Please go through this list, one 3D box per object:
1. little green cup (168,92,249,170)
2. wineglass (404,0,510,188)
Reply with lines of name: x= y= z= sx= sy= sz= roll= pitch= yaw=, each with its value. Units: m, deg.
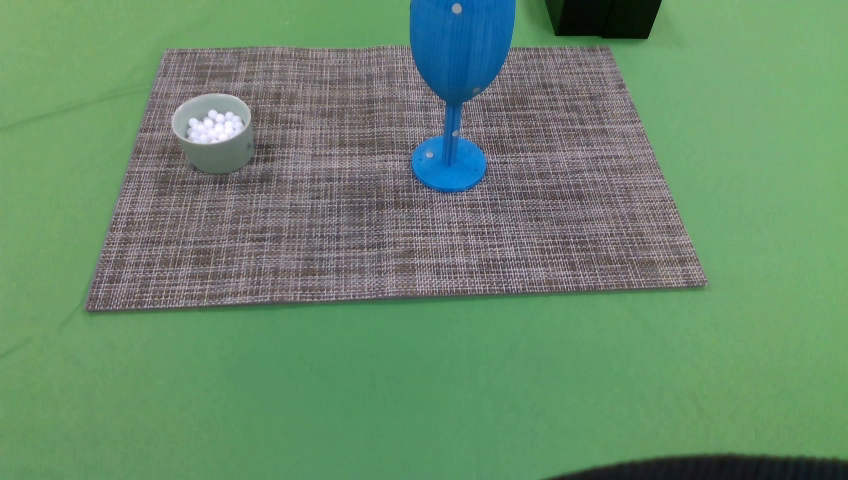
little green cup: x=-0.174 y=-0.089 z=0.499 sx=0.061 sy=0.039 sz=0.061 roll=2 pitch=52 yaw=-2
wineglass: x=0.020 y=-0.121 z=0.450 sx=0.074 sy=0.173 sz=0.073 roll=1 pitch=53 yaw=-2
